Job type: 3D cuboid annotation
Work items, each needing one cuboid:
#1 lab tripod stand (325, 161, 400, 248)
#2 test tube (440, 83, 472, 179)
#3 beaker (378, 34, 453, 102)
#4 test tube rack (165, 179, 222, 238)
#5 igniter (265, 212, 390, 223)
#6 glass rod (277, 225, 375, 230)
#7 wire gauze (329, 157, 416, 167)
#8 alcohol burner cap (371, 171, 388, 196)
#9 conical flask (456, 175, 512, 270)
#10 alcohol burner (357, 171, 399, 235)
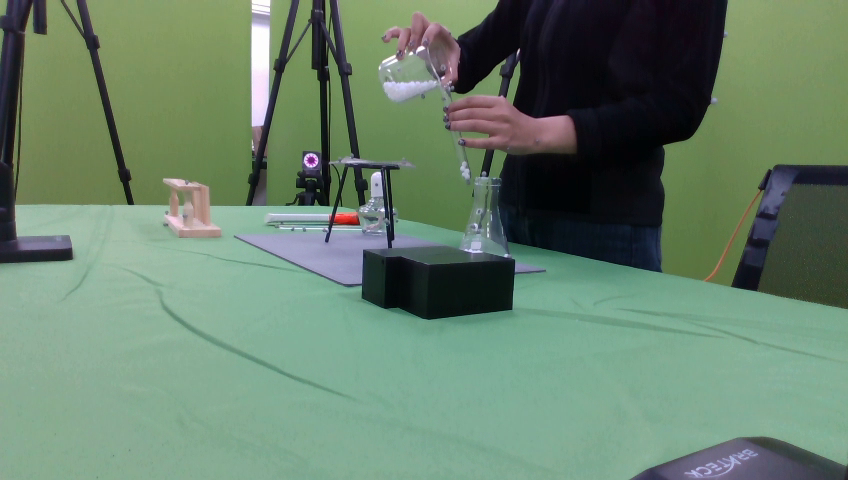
[{"bbox_3d":[-0.083,-0.059,0.977,0.148,0.131,0.148,4,8,0],"label":"lab tripod stand"},{"bbox_3d":[0.048,-0.165,0.913,0.017,0.150,0.017,-13,-6,-1],"label":"test tube"},{"bbox_3d":[-0.015,-0.263,0.948,0.100,0.084,0.074,-16,-10,30],"label":"beaker"},{"bbox_3d":[-0.423,-0.062,1.098,0.067,0.085,0.241,-2,9,-28],"label":"test tube rack"},{"bbox_3d":[-0.196,-0.048,1.285,0.278,0.025,0.057,-2,-2,-30],"label":"igniter"},{"bbox_3d":[-0.187,-0.024,1.178,0.201,0.008,0.008,1,7,-31],"label":"glass rod"},{"bbox_3d":[-0.079,-0.126,0.972,0.121,0.011,0.125,4,8,5],"label":"wire gauze"},{"bbox_3d":[-0.085,-0.104,1.120,0.034,0.048,0.034,-5,8,1],"label":"alcohol burner cap"},{"bbox_3d":[0.082,-0.025,0.801,0.075,0.122,0.075,2,7,0],"label":"conical flask"},{"bbox_3d":[-0.085,-0.069,1.125,0.078,0.119,0.078,3,10,0],"label":"alcohol burner"}]
